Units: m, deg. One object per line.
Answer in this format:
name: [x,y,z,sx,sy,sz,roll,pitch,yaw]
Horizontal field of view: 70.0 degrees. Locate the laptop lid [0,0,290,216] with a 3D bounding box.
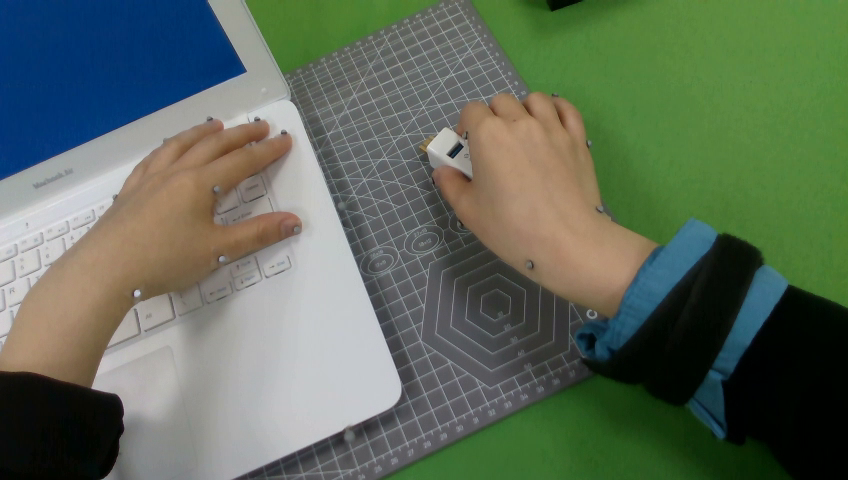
laptop lid: [-0.291,-0.118,0.365,0.357,0.244,0.013,-25,39,0]

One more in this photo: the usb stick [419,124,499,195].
usb stick: [0.020,-0.055,0.394,0.058,0.027,0.021,36,77,27]

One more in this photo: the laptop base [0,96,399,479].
laptop base: [-0.212,0.063,0.390,0.354,0.023,0.233,-24,68,-1]
